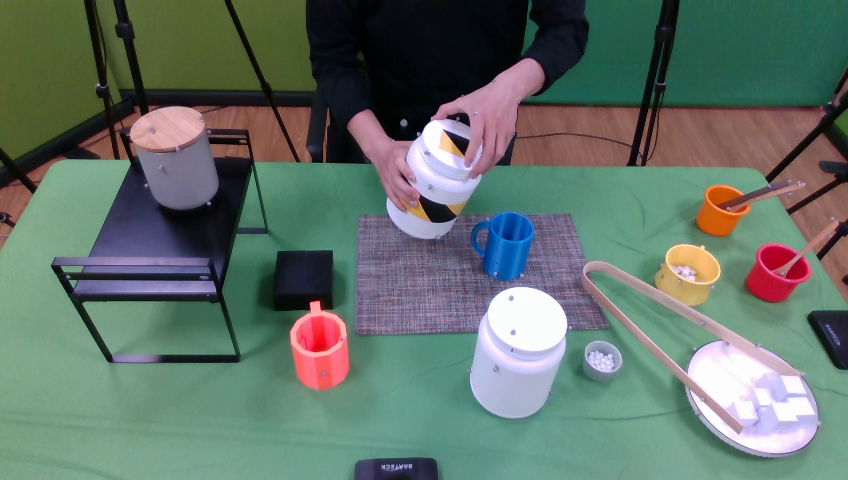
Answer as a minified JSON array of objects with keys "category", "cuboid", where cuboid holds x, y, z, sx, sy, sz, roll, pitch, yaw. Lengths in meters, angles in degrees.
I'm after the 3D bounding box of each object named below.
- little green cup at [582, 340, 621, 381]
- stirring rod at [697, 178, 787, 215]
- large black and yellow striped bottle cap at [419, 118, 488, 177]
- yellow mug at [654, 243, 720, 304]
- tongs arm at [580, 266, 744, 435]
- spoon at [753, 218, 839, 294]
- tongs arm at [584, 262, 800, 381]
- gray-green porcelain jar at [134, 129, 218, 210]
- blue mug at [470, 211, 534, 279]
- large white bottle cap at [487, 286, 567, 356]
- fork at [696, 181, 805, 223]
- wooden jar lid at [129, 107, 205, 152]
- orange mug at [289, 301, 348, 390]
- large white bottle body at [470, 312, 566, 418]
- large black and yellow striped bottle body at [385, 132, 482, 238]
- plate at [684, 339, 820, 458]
[{"category":"little green cup","cuboid":[0.295,0.204,1.015,0.061,0.039,0.061,2,45,-2]},{"category":"stirring rod","cuboid":[0.650,-0.088,1.246,0.006,0.176,0.014,29,49,-38]},{"category":"large black and yellow striped bottle cap","cuboid":[0.049,-0.152,0.983,0.115,0.019,0.114,12,51,-15]},{"category":"yellow mug","cuboid":[0.504,0.054,1.154,0.099,0.064,0.130,29,50,22]},{"category":"tongs arm","cuboid":[0.384,0.173,1.028,0.028,0.028,0.385,-25,46,-15]},{"category":"spoon","cuboid":[0.700,0.031,1.138,0.194,0.022,0.041,-47,55,14]},{"category":"tongs arm","cuboid":[0.452,0.137,1.064,0.051,0.027,0.382,-34,50,-27]},{"category":"gray-green porcelain jar","cuboid":[-0.388,-0.120,0.960,0.106,0.127,0.105,2,46,-2]},{"category":"blue mug","cuboid":[0.141,0.005,1.140,0.116,0.106,0.082,18,48,13]},{"category":"large white bottle cap","cuboid":[0.147,0.114,0.869,0.115,0.018,0.114,3,46,-3]},{"category":"fork","cuboid":[0.659,-0.077,1.231,0.207,0.019,0.028,-26,35,34]},{"category":"wooden jar lid","cuboid":[-0.385,-0.163,0.915,0.108,0.021,0.107,2,47,-2]},{"category":"orange mug","cuboid":[-0.170,0.162,0.976,0.083,0.101,0.125,-8,52,-11]},{"category":"large white bottle body","cuboid":[0.143,0.173,0.930,0.131,0.185,0.130,2,46,-2]},{"category":"large black and yellow striped bottle body","cuboid":[0.020,-0.104,1.045,0.131,0.184,0.130,13,50,-16]},{"category":"plate","cuboid":[0.523,0.256,0.982,0.208,0.039,0.206,2,46,-2]}]
